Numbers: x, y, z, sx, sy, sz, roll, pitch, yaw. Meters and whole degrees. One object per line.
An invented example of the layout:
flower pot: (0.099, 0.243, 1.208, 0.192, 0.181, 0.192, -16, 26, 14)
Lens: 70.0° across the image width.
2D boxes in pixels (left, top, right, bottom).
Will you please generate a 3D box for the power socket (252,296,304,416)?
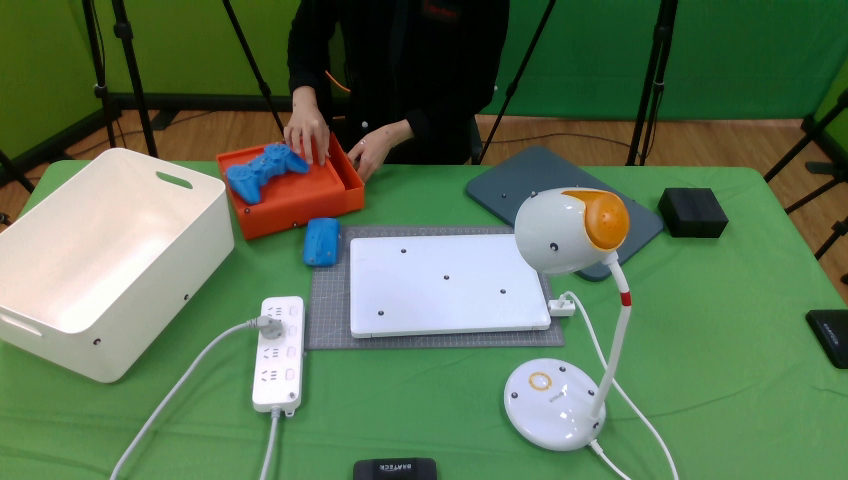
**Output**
power socket: (-0.238, 0.182, 0.997, 0.072, 0.033, 0.225, -3, 47, -5)

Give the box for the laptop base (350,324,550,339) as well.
laptop base: (0.039, 0.081, 1.124, 0.355, 0.023, 0.234, -2, 43, -6)

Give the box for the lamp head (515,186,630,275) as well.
lamp head: (0.188, -0.013, 0.728, 0.112, 0.112, 0.122, -25, 9, -25)

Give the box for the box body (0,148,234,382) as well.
box body: (-0.525, 0.033, 1.027, 0.254, 0.161, 0.362, 18, 47, 13)

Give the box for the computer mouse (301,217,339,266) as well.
computer mouse: (-0.199, -0.001, 1.169, 0.063, 0.041, 0.116, 4, 50, -3)

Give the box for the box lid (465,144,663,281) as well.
box lid: (0.297, -0.072, 1.298, 0.263, 0.015, 0.369, -33, 56, -31)

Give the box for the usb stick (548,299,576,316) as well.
usb stick: (0.239, 0.121, 1.083, 0.059, 0.027, 0.021, -1, 50, -2)

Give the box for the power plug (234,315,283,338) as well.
power plug: (-0.270, 0.143, 1.000, 0.072, 0.053, 0.035, 5, 47, 2)

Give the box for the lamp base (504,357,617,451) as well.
lamp base: (0.220, 0.211, 0.903, 0.160, 0.181, 0.178, -32, 59, -30)

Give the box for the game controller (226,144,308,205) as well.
game controller: (-0.314, -0.138, 1.194, 0.096, 0.052, 0.155, 30, 50, 26)

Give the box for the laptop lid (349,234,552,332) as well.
laptop lid: (0.040, 0.071, 1.118, 0.357, 0.013, 0.240, 0, 44, -5)

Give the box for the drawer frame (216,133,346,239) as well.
drawer frame: (-0.291, -0.115, 1.244, 0.214, 0.083, 0.200, -17, 51, -20)

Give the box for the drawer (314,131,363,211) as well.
drawer: (-0.254, -0.126, 1.259, 0.212, 0.073, 0.193, -17, 50, -19)
